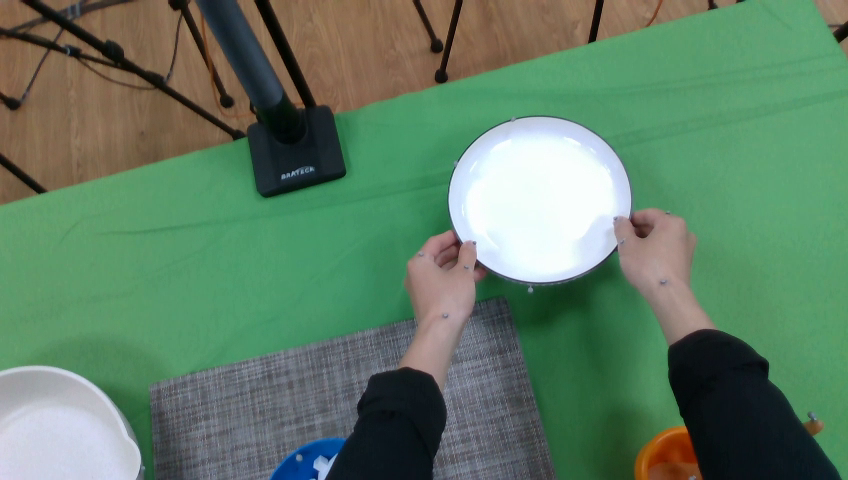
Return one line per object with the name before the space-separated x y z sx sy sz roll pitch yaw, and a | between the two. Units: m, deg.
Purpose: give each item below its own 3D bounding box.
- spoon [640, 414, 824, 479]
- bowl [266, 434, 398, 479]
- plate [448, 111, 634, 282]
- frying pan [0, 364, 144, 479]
spoon | 0.292 0.210 0.587 0.022 0.194 0.041 -7 63 -44
bowl | -0.089 0.283 0.637 0.151 0.077 0.150 -2 71 6
plate | 0.132 -0.049 0.702 0.207 0.039 0.206 -1 73 5
frying pan | -0.421 0.376 0.632 0.307 0.103 0.483 -18 62 1
